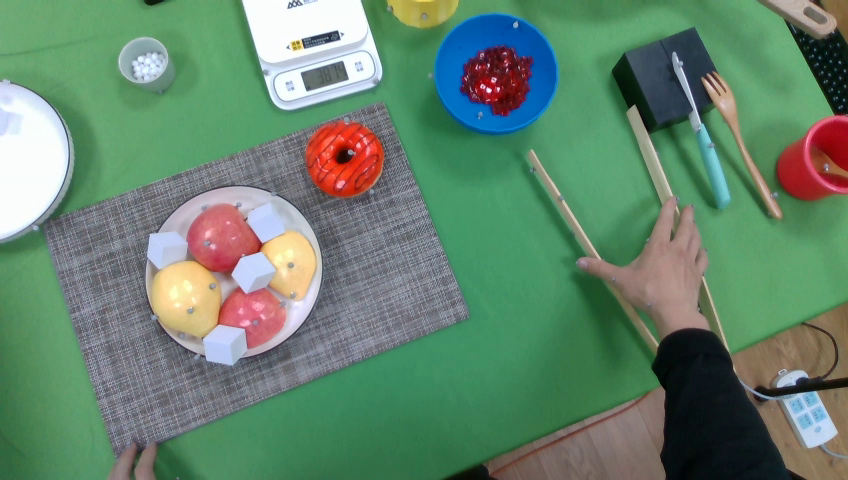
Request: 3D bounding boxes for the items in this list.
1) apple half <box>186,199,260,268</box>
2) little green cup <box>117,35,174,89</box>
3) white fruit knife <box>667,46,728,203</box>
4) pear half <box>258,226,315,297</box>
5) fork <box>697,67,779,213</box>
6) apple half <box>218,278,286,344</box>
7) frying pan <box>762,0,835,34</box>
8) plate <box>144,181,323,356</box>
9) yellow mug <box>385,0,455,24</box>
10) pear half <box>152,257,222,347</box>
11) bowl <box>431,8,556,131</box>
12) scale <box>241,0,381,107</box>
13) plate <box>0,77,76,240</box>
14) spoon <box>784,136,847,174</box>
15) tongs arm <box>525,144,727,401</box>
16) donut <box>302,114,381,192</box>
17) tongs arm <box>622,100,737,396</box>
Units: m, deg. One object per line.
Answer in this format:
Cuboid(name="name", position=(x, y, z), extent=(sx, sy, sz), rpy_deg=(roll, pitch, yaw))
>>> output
Cuboid(name="apple half", position=(-0.243, -0.008, 0.717), extent=(0.074, 0.053, 0.080), rpy_deg=(-34, 87, -4))
Cuboid(name="little green cup", position=(-0.350, -0.223, 0.768), extent=(0.061, 0.039, 0.061), rpy_deg=(0, 81, -1))
Cuboid(name="white fruit knife", position=(0.341, -0.143, 0.759), extent=(0.016, 0.027, 0.208), rpy_deg=(-24, 97, -6))
Cuboid(name="pear half", position=(-0.169, 0.025, 0.726), extent=(0.070, 0.031, 0.087), rpy_deg=(-20, 79, 9))
Cuboid(name="fork", position=(0.401, -0.125, 0.766), extent=(0.028, 0.018, 0.208), rpy_deg=(-31, 99, -8))
Cuboid(name="apple half", position=(-0.208, 0.083, 0.713), extent=(0.081, 0.033, 0.081), rpy_deg=(0, 74, -1))
Cuboid(name="frying pan", position=(0.309, -0.409, 0.786), extent=(0.485, 0.103, 0.306), rpy_deg=(40, 83, 12))
Cuboid(name="plate", position=(-0.224, 0.034, 0.729), extent=(0.209, 0.038, 0.208), rpy_deg=(0, 81, -2))
Cuboid(name="yellow mug", position=(-0.017, -0.351, 0.785), extent=(0.130, 0.064, 0.100), rpy_deg=(35, 82, 4))
Cuboid(name="pear half", position=(-0.268, 0.073, 0.700), extent=(0.076, 0.056, 0.109), rpy_deg=(-28, 87, -14))
Cuboid(name="bowl", position=(0.082, -0.200, 0.760), extent=(0.151, 0.077, 0.151), rpy_deg=(0, 82, -2))
Cuboid(name="scale", position=(-0.151, -0.283, 0.787), extent=(0.149, 0.031, 0.200), rpy_deg=(-17, 83, -4))
Cuboid(name="plate", position=(-0.529, -0.096, 0.743), extent=(0.208, 0.039, 0.207), rpy_deg=(0, 81, -2))
Cuboid(name="spoon", position=(0.514, -0.076, 0.722), extent=(0.041, 0.022, 0.191), rpy_deg=(-26, 39, -6))
Cuboid(name="tongs arm", position=(0.246, 0.036, 0.751), extent=(0.051, 0.026, 0.383), rpy_deg=(-29, 84, -12))
Cuboid(name="donut", position=(-0.102, -0.107, 0.752), extent=(0.099, 0.048, 0.098), rpy_deg=(0, 83, 1))
Cuboid(name="tongs arm", position=(0.319, 0.003, 0.764), extent=(0.028, 0.028, 0.386), rpy_deg=(-15, 82, -13))
